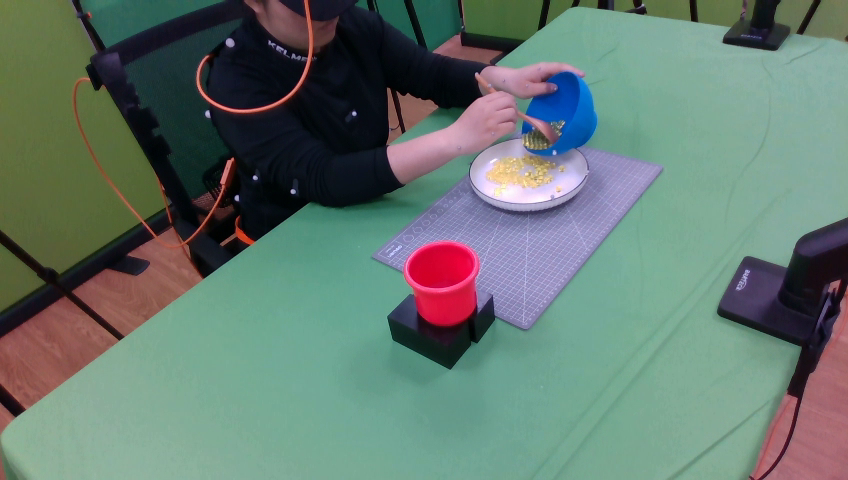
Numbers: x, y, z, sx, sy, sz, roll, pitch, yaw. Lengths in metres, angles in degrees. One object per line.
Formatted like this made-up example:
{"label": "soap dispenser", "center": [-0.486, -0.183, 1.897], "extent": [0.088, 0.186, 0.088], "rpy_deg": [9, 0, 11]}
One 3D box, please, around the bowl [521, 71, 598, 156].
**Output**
{"label": "bowl", "center": [0.248, -0.209, 1.056], "extent": [0.077, 0.151, 0.150], "rpy_deg": [18, 32, -27]}

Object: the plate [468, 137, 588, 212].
{"label": "plate", "center": [0.182, -0.111, 1.064], "extent": [0.207, 0.039, 0.206], "rpy_deg": [-5, 40, 5]}

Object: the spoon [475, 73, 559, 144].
{"label": "spoon", "center": [0.161, -0.222, 1.038], "extent": [0.194, 0.021, 0.041], "rpy_deg": [32, 40, -13]}
